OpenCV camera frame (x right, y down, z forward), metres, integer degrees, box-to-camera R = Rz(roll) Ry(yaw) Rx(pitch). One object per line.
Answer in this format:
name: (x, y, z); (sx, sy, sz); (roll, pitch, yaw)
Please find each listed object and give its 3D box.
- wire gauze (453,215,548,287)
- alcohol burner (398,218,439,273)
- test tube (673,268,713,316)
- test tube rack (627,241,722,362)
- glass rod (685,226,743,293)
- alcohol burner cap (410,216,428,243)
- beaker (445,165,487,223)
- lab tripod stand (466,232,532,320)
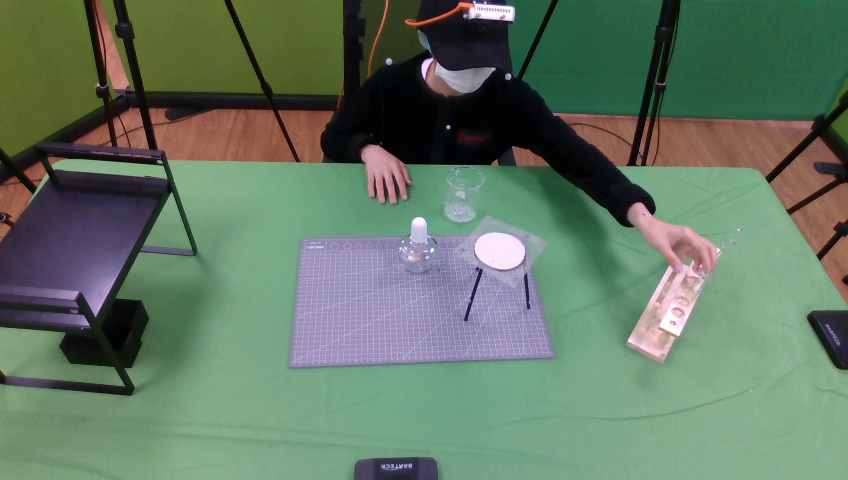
wire gauze: (0.129, 0.012, 1.017); (0.124, 0.011, 0.121); (28, 50, 23)
alcohol burner: (-0.010, 0.004, 1.124); (0.078, 0.120, 0.077); (1, 47, -1)
test tube: (0.445, 0.098, 1.017); (0.017, 0.151, 0.017); (4, 48, -4)
test tube rack: (0.452, 0.098, 1.087); (0.066, 0.085, 0.242); (28, 51, 22)
glass rod: (0.501, 0.040, 1.054); (0.008, 0.200, 0.008); (4, 52, -5)
alcohol burner cap: (-0.009, -0.022, 1.099); (0.034, 0.048, 0.033); (2, 42, -2)
beaker: (0.082, -0.091, 1.237); (0.084, 0.101, 0.073); (-7, 47, -11)
lab tripod stand: (0.125, 0.059, 1.065); (0.148, 0.132, 0.147); (1, 45, 0)
